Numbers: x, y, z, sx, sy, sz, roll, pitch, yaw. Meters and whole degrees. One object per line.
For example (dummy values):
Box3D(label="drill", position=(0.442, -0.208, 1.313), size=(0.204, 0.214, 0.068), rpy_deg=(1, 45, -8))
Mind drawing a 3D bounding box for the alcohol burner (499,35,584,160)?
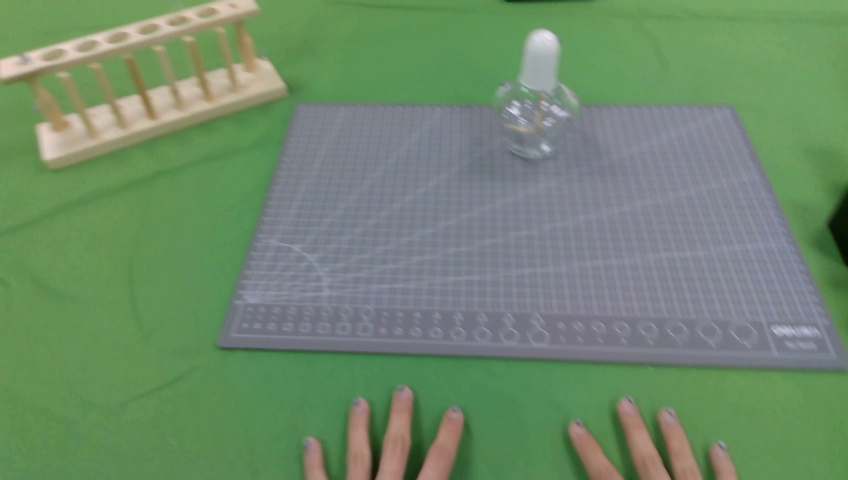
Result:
Box3D(label="alcohol burner", position=(0.108, -0.131, 0.545), size=(0.078, 0.120, 0.077), rpy_deg=(0, 49, 1))

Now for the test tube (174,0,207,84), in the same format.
Box3D(label="test tube", position=(-0.233, -0.222, 0.598), size=(0.017, 0.151, 0.017), rpy_deg=(-1, 45, 1))

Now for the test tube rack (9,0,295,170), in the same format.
Box3D(label="test tube rack", position=(-0.263, -0.159, 0.610), size=(0.243, 0.086, 0.066), rpy_deg=(-22, 51, -17))

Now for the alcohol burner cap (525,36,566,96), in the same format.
Box3D(label="alcohol burner cap", position=(0.106, -0.153, 0.523), size=(0.034, 0.048, 0.033), rpy_deg=(1, 47, -1))
